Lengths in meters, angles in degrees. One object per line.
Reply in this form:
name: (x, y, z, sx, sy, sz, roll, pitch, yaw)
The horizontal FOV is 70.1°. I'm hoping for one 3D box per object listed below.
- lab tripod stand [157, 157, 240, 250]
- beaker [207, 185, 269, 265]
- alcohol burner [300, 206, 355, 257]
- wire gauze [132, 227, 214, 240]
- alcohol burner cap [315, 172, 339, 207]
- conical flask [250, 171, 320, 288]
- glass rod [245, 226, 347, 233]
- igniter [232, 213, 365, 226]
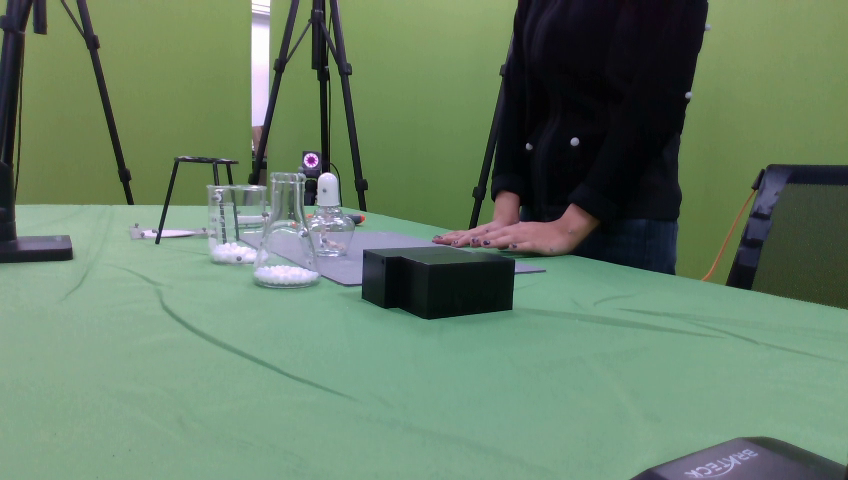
lab tripod stand: (-0.322, -0.057, 0.905, 0.148, 0.131, 0.148, 4, 7, 0)
beaker: (-0.244, -0.021, 0.784, 0.083, 0.100, 0.074, 6, 8, 30)
alcohol burner: (-0.137, -0.037, 0.858, 0.078, 0.119, 0.078, 0, 7, 0)
wire gauze: (-0.425, -0.013, 1.018, 0.122, 0.011, 0.124, -1, 6, -28)
alcohol burner cap: (-0.137, -0.072, 0.852, 0.034, 0.048, 0.034, 1, 14, 0)
conical flask: (-0.150, -0.013, 0.658, 0.075, 0.122, 0.075, 2, 7, 0)
glass rod: (-0.237, -0.020, 1.141, 0.201, 0.008, 0.008, -3, 9, -32)
igniter: (-0.246, -0.042, 1.223, 0.278, 0.025, 0.057, -3, -1, -36)
